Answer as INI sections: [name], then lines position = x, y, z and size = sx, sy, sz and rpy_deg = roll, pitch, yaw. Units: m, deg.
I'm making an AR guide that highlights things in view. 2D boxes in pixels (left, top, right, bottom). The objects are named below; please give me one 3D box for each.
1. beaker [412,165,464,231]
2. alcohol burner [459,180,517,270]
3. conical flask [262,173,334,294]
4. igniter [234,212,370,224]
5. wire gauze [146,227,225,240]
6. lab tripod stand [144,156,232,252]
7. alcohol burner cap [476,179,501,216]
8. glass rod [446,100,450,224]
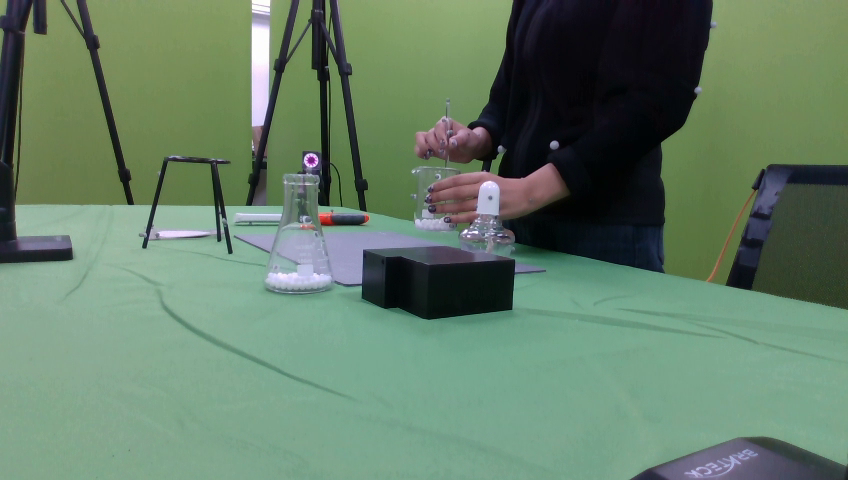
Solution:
[beaker]
position = 0.019, -0.066, 0.956
size = 0.084, 0.100, 0.074
rpy_deg = 4, 4, 10
[alcohol burner]
position = 0.086, -0.021, 0.805
size = 0.078, 0.119, 0.078
rpy_deg = 3, 10, 0
[conical flask]
position = -0.131, -0.009, 0.632
size = 0.075, 0.122, 0.075
rpy_deg = 2, 8, 0
[igniter]
position = -0.247, -0.046, 1.253
size = 0.278, 0.025, 0.057
rpy_deg = -1, -3, -27
[wire gauze]
position = -0.400, -0.012, 1.019
size = 0.122, 0.011, 0.124
rpy_deg = -1, 6, -26
[lab tripod stand]
position = -0.325, -0.054, 0.881
size = 0.148, 0.131, 0.148
rpy_deg = 4, 7, 0
[alcohol burner cap]
position = 0.086, -0.057, 0.801
size = 0.034, 0.048, 0.034
rpy_deg = 4, 2, 0
[glass rod]
position = 0.038, -0.126, 0.969
size = 0.008, 0.199, 0.008
rpy_deg = 0, -1, 0
